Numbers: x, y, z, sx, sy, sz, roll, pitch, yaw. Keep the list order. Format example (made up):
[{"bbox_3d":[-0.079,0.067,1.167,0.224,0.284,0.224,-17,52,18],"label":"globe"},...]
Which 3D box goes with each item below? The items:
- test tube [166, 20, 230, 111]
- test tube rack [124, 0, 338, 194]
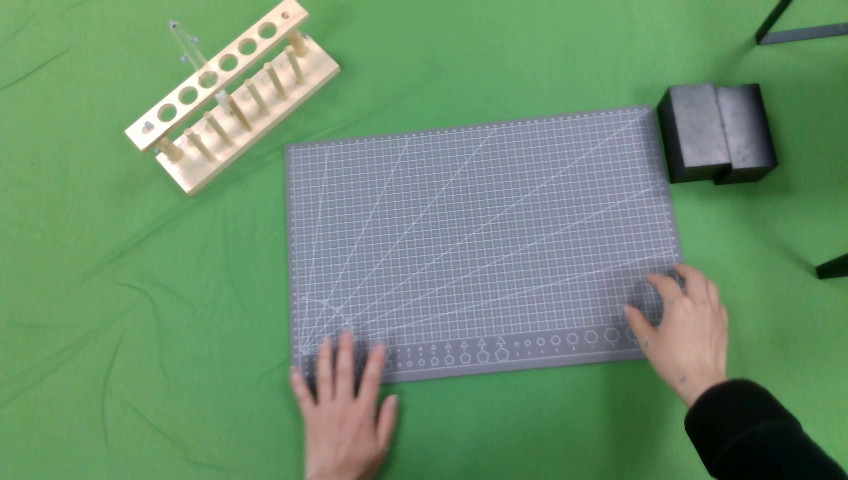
[{"bbox_3d":[-0.246,-0.189,0.676,0.017,0.151,0.017,-1,69,4],"label":"test tube"},{"bbox_3d":[-0.222,-0.170,0.721,0.242,0.085,0.066,-43,77,-8],"label":"test tube rack"}]
